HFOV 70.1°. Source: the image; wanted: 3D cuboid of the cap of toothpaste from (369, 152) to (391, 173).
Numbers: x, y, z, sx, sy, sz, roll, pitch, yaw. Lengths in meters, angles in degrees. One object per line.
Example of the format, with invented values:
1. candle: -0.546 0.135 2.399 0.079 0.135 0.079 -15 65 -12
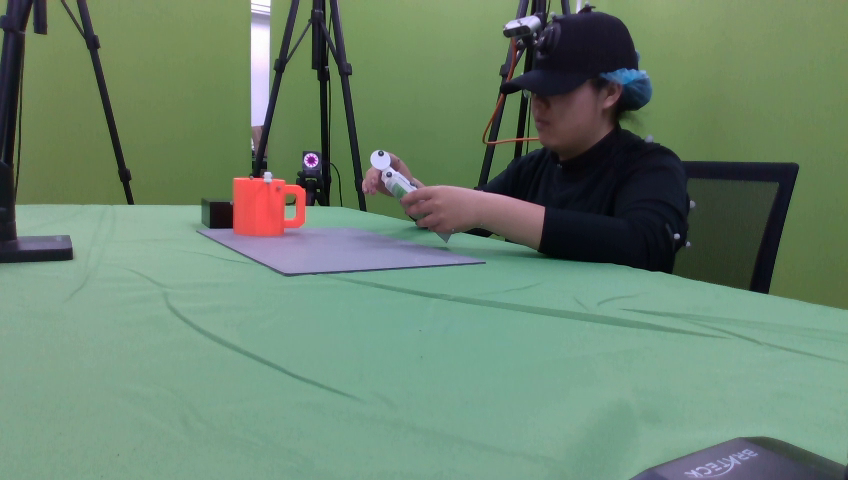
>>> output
1. cap of toothpaste: -0.074 -0.131 1.024 0.037 0.037 0.011 1 -6 -6

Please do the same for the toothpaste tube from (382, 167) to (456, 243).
1. toothpaste tube: -0.011 -0.066 1.022 0.164 0.055 0.034 44 58 13

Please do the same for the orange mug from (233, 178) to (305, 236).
1. orange mug: -0.273 -0.061 1.067 0.127 0.101 0.083 -5 10 -24

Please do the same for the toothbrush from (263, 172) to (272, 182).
1. toothbrush: -0.273 -0.112 1.055 0.014 0.016 0.181 -8 10 -13
